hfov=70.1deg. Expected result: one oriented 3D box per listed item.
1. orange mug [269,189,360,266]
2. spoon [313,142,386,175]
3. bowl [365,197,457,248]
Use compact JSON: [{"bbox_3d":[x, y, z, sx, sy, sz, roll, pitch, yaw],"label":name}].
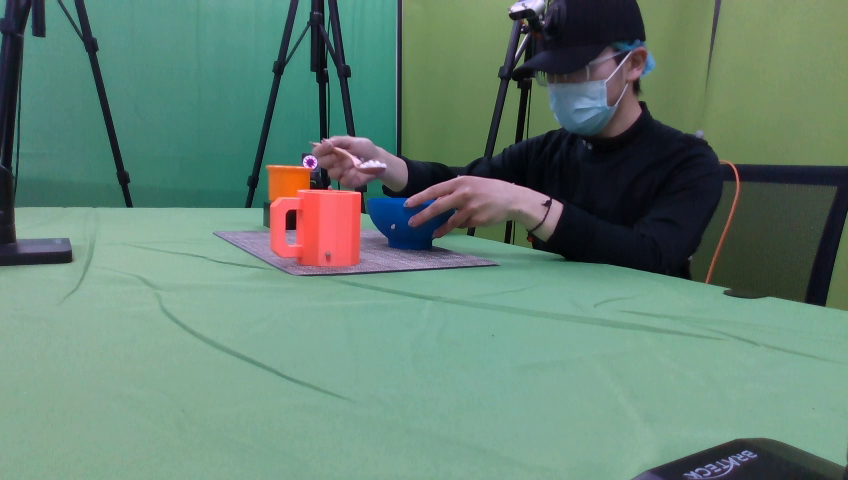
[{"bbox_3d":[-0.143,-0.019,0.796,0.127,0.100,0.083,3,5,-39],"label":"orange mug"},{"bbox_3d":[-0.126,-0.137,0.982,0.042,0.021,0.192,-13,31,-38],"label":"spoon"},{"bbox_3d":[-0.022,-0.029,1.000,0.151,0.077,0.151,2,7,0],"label":"bowl"}]
